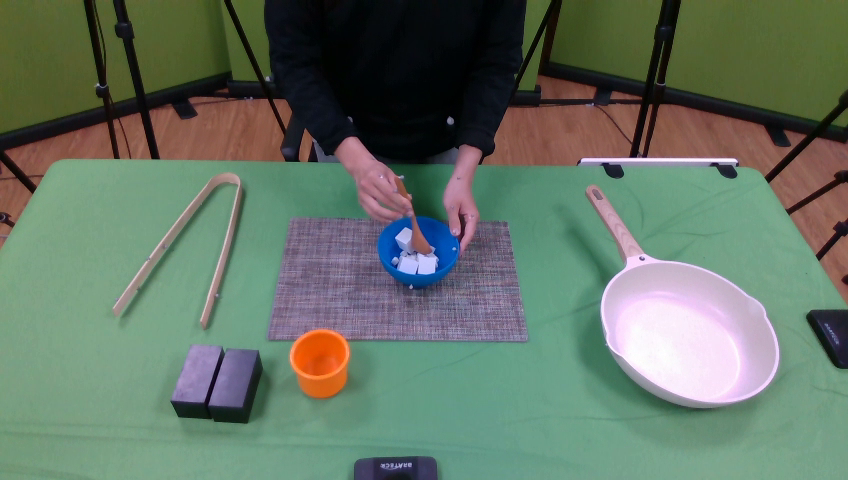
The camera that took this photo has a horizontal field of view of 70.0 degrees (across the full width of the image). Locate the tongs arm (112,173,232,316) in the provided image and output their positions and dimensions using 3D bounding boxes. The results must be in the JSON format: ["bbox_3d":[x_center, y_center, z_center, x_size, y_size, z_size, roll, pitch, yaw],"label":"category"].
[{"bbox_3d":[-0.467,-0.005,1.157,0.051,0.026,0.382,11,45,4],"label":"tongs arm"}]

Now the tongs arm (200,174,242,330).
[{"bbox_3d":[-0.387,0.008,1.158,0.028,0.028,0.385,-1,46,-3],"label":"tongs arm"}]

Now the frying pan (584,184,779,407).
[{"bbox_3d":[0.412,0.079,1.096,0.307,0.103,0.484,-10,56,-15],"label":"frying pan"}]

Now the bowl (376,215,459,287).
[{"bbox_3d":[-0.014,0.033,1.119,0.151,0.077,0.150,2,46,-2],"label":"bowl"}]

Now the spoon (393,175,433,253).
[{"bbox_3d":[-0.022,-0.041,1.061,0.041,0.195,0.021,8,47,28],"label":"spoon"}]
